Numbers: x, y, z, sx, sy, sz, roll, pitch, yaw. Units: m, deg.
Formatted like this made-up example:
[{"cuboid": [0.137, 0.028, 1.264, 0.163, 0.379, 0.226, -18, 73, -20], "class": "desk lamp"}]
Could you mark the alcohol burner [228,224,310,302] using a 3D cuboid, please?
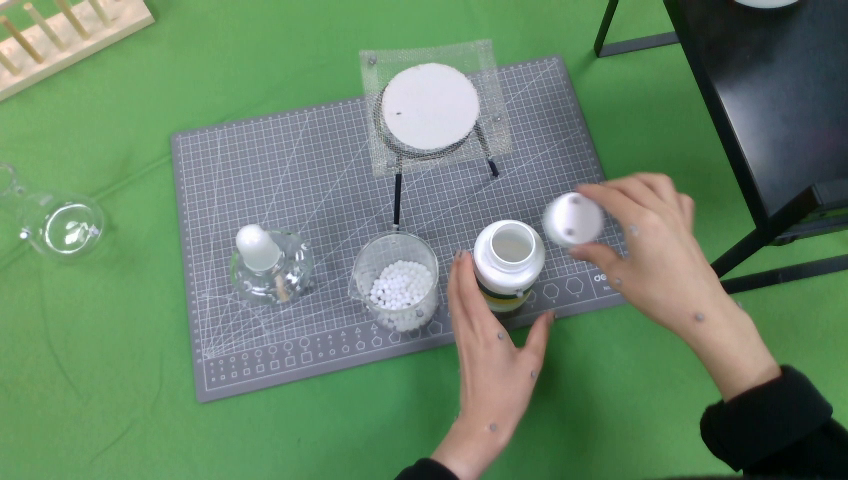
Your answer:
[{"cuboid": [-0.148, 0.016, 0.565, 0.078, 0.120, 0.077, 0, 69, 0], "class": "alcohol burner"}]

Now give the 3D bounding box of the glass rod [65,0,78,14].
[{"cuboid": [-0.408, -0.308, 0.629, 0.008, 0.201, 0.008, 1, 68, -3], "class": "glass rod"}]

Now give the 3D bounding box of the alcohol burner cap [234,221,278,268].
[{"cuboid": [-0.150, 0.001, 0.531, 0.034, 0.048, 0.033, 0, 63, 0], "class": "alcohol burner cap"}]

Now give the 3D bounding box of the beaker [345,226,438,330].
[{"cuboid": [-0.027, 0.042, 0.562, 0.084, 0.101, 0.073, -24, 71, -6], "class": "beaker"}]

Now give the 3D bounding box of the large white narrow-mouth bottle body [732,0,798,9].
[{"cuboid": [0.281, -0.267, 0.427, 0.102, 0.196, 0.101, 0, 68, 1], "class": "large white narrow-mouth bottle body"}]

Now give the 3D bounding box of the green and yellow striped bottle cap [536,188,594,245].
[{"cuboid": [0.115, -0.019, 0.489, 0.046, 0.020, 0.045, 3, 82, -17], "class": "green and yellow striped bottle cap"}]

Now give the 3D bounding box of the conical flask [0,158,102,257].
[{"cuboid": [-0.377, -0.036, 0.585, 0.075, 0.122, 0.075, 0, 70, 1], "class": "conical flask"}]

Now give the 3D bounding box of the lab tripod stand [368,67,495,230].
[{"cuboid": [0.002, -0.093, 0.590, 0.148, 0.132, 0.147, 0, 69, 0], "class": "lab tripod stand"}]

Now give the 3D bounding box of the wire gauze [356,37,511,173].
[{"cuboid": [0.007, -0.122, 0.528, 0.121, 0.011, 0.124, -7, 71, -3], "class": "wire gauze"}]

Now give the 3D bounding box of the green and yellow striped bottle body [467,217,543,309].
[{"cuboid": [0.073, 0.020, 0.556, 0.063, 0.120, 0.063, 0, 70, 2], "class": "green and yellow striped bottle body"}]

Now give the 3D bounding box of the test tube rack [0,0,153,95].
[{"cuboid": [-0.446, -0.244, 0.678, 0.242, 0.086, 0.066, -32, 73, -10], "class": "test tube rack"}]
